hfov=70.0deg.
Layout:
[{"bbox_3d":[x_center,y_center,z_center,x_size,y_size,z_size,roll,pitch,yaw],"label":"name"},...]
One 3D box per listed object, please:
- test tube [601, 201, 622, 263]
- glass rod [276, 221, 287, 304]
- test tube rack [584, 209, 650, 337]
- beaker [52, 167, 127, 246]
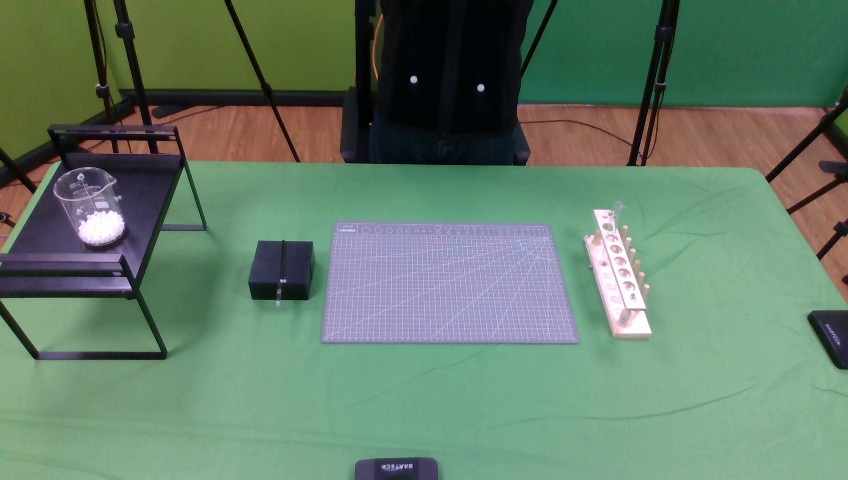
[{"bbox_3d":[0.346,-0.012,1.123,0.017,0.151,0.017,-2,44,2],"label":"test tube"},{"bbox_3d":[-0.255,0.036,1.086,0.008,0.008,0.198,-2,46,-6],"label":"glass rod"},{"bbox_3d":[0.365,0.056,1.129,0.067,0.085,0.240,1,46,-4],"label":"test tube rack"},{"bbox_3d":[-0.490,-0.048,0.902,0.084,0.101,0.073,-15,49,-18],"label":"beaker"}]
